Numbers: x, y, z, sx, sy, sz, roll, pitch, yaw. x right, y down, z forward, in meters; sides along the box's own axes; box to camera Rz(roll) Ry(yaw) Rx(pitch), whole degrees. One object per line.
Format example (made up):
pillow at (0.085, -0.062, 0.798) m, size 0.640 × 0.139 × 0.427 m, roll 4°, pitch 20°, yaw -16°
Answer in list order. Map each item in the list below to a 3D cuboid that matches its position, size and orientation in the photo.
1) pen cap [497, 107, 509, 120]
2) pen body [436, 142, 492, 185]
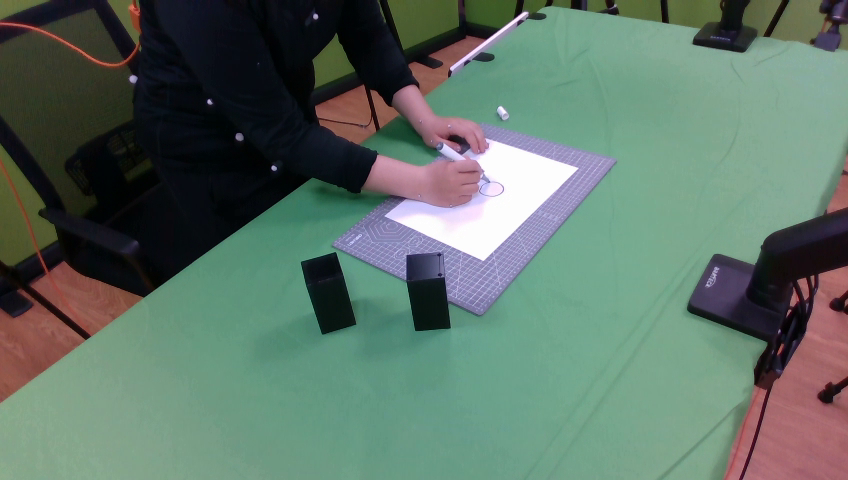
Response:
pen cap at (0.164, -0.264, 1.262) m, size 0.017 × 0.017 × 0.038 m, roll -14°, pitch 41°, yaw -7°
pen body at (0.072, -0.127, 1.037) m, size 0.017 × 0.145 × 0.017 m, roll -24°, pitch 53°, yaw 36°
